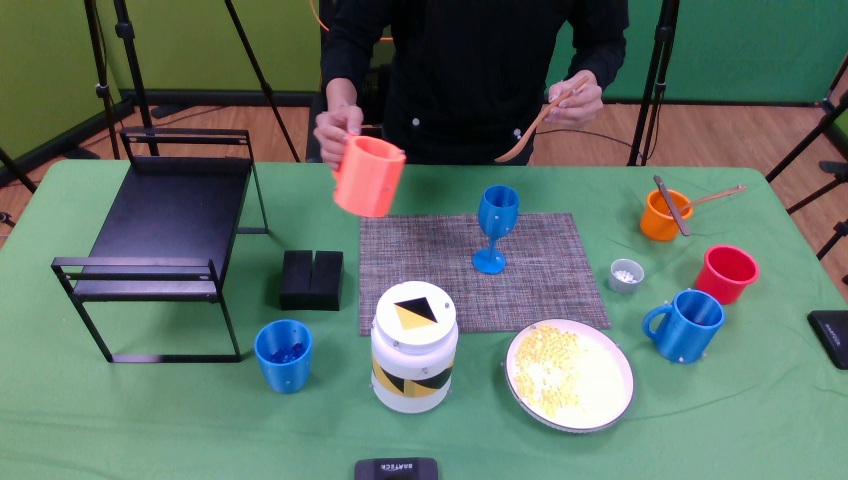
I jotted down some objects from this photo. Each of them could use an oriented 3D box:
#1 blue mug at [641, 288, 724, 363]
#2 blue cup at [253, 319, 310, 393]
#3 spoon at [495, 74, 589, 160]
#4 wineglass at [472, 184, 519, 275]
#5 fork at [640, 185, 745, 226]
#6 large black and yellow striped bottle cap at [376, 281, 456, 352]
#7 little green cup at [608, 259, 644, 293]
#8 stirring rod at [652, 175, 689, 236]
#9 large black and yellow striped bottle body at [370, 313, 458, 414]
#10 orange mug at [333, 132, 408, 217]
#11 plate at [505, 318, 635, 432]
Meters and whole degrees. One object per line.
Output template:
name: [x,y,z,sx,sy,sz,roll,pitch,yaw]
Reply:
blue mug: [0.432,0.144,1.033,0.116,0.106,0.082,8,46,5]
blue cup: [-0.217,0.187,0.943,0.093,0.101,0.092,4,45,-3]
spoon: [0.183,-0.191,0.957,0.021,0.194,0.041,48,26,10]
wineglass: [0.129,-0.018,1.113,0.074,0.173,0.073,2,46,-2]
fork: [0.534,-0.069,1.215,0.207,0.019,0.028,-26,27,33]
large black and yellow striped bottle cap: [-0.011,0.107,0.863,0.115,0.019,0.114,2,47,-2]
little green cup: [0.379,0.070,1.147,0.061,0.039,0.061,3,45,-2]
stirring rod: [0.491,-0.072,1.211,0.014,0.006,0.175,-1,46,-6]
large black and yellow striped bottle body: [-0.017,0.165,0.924,0.131,0.185,0.130,2,46,-2]
orange mug: [-0.091,-0.108,0.923,0.084,0.101,0.125,-10,43,-46]
plate: [0.235,0.221,0.991,0.209,0.038,0.208,2,46,-2]
